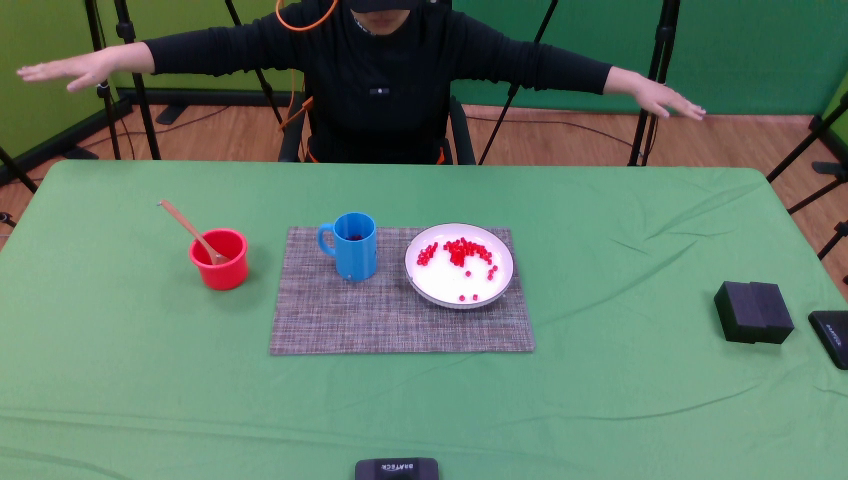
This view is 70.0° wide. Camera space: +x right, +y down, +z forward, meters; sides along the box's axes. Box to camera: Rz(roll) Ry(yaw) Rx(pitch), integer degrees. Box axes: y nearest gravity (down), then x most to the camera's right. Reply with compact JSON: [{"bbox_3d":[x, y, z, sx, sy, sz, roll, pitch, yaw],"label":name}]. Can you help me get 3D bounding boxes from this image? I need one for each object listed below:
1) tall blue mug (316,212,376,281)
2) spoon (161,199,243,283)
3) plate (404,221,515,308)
[{"bbox_3d":[-0.142,0.014,1.109,0.107,0.108,0.077,-5,47,-8],"label":"tall blue mug"},{"bbox_3d":[-0.397,0.001,1.083,0.194,0.021,0.041,53,57,-15],"label":"spoon"},{"bbox_3d":[0.065,0.049,1.140,0.208,0.039,0.206,2,46,-2],"label":"plate"}]
